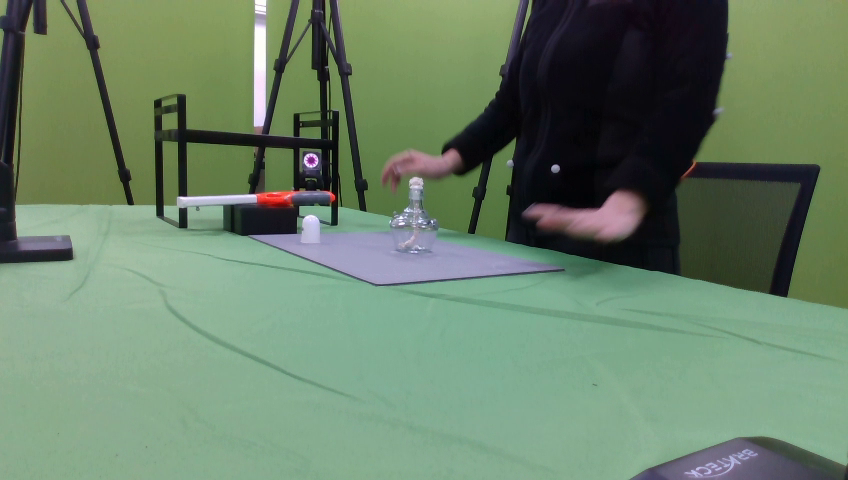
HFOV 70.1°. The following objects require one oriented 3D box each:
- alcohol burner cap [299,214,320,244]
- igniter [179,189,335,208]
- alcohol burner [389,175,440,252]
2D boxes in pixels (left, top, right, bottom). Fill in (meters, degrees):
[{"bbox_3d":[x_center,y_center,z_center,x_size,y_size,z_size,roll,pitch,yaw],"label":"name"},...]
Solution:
[{"bbox_3d":[-0.185,-0.018,0.979,0.034,0.048,0.034,3,8,0],"label":"alcohol burner cap"},{"bbox_3d":[-0.296,-0.075,1.102,0.278,0.025,0.057,-5,11,-31],"label":"igniter"},{"bbox_3d":[-0.013,-0.041,0.929,0.078,0.119,0.078,4,8,0],"label":"alcohol burner"}]
